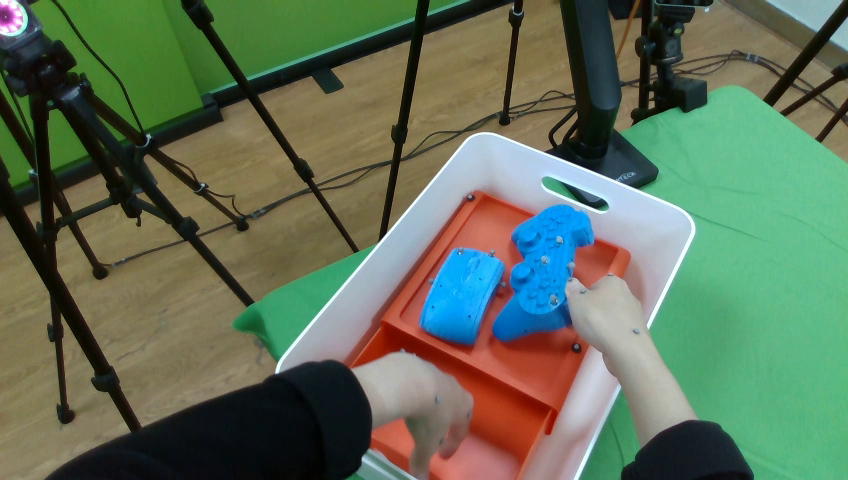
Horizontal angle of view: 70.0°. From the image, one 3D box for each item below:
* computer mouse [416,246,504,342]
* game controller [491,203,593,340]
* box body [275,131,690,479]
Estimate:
[{"bbox_3d":[0.039,0.050,0.626,0.062,0.041,0.116,16,49,16],"label":"computer mouse"},{"bbox_3d":[0.117,0.025,0.614,0.097,0.052,0.154,-8,46,30],"label":"game controller"},{"bbox_3d":[0.069,0.091,0.611,0.252,0.162,0.363,26,58,19],"label":"box body"}]
